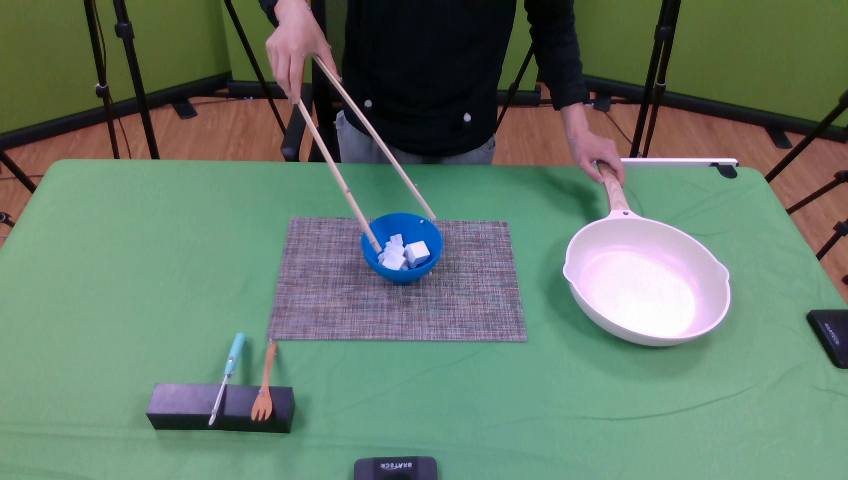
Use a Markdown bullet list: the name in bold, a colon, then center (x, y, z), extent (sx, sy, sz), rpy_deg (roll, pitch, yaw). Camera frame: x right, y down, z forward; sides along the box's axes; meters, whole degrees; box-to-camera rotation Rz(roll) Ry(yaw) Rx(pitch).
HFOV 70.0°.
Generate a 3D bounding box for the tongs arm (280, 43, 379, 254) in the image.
- **tongs arm**: center (-0.155, -0.156, 1.031), extent (0.051, 0.026, 0.384), rpy_deg (-29, 89, -15)

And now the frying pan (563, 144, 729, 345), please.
- **frying pan**: center (0.396, -0.008, 1.179), extent (0.307, 0.103, 0.484), rpy_deg (1, 55, -5)

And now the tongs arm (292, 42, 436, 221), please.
- **tongs arm**: center (-0.101, -0.188, 1.050), extent (0.028, 0.028, 0.387), rpy_deg (-38, 91, -12)

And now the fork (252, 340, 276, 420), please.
- **fork**: center (-0.242, 0.211, 0.932), extent (0.028, 0.019, 0.206), rpy_deg (-8, 27, -5)

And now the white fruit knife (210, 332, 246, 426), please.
- **white fruit knife**: center (-0.301, 0.206, 0.930), extent (0.016, 0.027, 0.206), rpy_deg (5, 29, -7)

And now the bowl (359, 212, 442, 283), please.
- **bowl**: center (-0.045, 0.026, 1.125), extent (0.151, 0.077, 0.150), rpy_deg (2, 46, -2)
